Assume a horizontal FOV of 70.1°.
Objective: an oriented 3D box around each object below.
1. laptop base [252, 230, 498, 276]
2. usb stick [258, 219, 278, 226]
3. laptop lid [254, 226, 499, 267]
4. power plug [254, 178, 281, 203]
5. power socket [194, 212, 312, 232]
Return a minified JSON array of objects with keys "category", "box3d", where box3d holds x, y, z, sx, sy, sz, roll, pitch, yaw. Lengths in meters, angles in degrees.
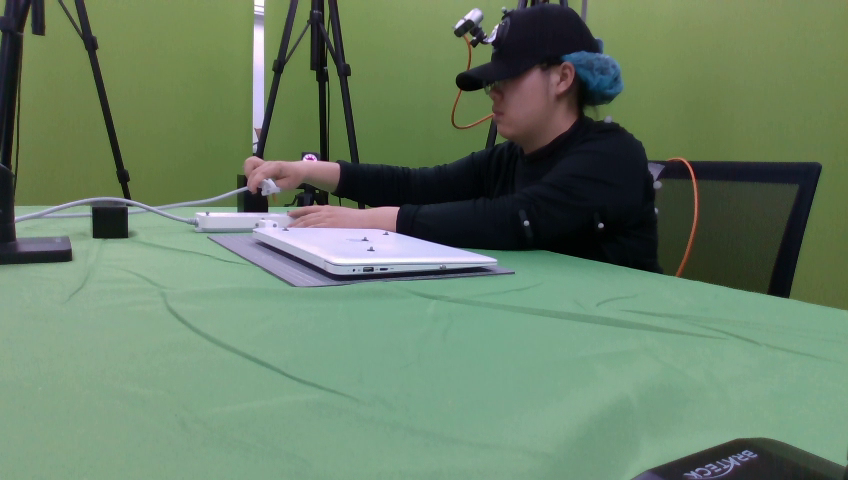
[{"category":"laptop base","box3d":[-0.089,0.017,0.876,0.237,0.023,0.352,2,6,-32]},{"category":"usb stick","box3d":[-0.255,-0.019,0.996,0.021,0.027,0.059,-2,12,-29]},{"category":"laptop lid","box3d":[-0.086,0.005,0.875,0.243,0.013,0.355,1,7,-30]},{"category":"power plug","box3d":[-0.305,-0.095,1.189,0.035,0.052,0.072,-14,2,-28]},{"category":"power socket","box3d":[-0.322,-0.036,1.151,0.228,0.032,0.072,-2,7,-34]}]
